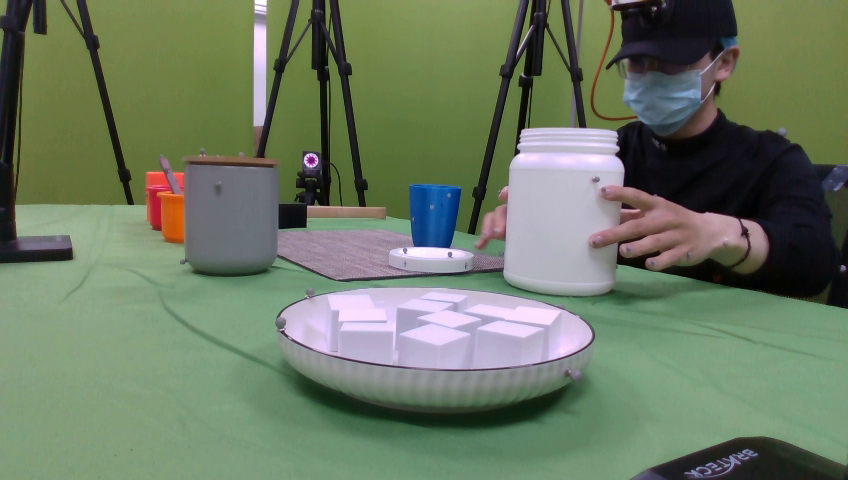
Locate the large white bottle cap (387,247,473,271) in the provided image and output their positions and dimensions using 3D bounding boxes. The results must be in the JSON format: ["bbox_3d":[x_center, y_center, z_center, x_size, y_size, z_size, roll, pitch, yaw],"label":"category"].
[{"bbox_3d":[0.009,0.025,0.804,0.115,0.018,0.115,2,7,0],"label":"large white bottle cap"}]

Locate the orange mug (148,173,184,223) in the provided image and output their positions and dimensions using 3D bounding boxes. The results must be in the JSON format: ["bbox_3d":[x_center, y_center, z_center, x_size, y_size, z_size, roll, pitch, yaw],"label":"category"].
[{"bbox_3d":[-0.490,-0.087,1.222,0.127,0.101,0.083,-9,13,-38],"label":"orange mug"}]

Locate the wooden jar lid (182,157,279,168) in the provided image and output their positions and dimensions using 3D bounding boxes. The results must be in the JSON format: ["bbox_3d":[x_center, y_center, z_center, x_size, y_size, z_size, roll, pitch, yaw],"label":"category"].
[{"bbox_3d":[-0.227,-0.086,0.714,0.108,0.020,0.108,1,6,0],"label":"wooden jar lid"}]

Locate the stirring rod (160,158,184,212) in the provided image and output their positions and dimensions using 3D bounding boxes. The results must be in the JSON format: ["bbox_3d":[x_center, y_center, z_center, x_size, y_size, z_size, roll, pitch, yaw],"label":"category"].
[{"bbox_3d":[-0.390,-0.070,0.972,0.014,0.006,0.175,-1,49,-49],"label":"stirring rod"}]

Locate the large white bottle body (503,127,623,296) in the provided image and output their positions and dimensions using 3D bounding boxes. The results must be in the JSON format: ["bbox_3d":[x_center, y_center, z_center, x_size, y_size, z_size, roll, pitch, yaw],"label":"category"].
[{"bbox_3d":[0.162,-0.036,0.707,0.131,0.184,0.130,2,7,0],"label":"large white bottle body"}]

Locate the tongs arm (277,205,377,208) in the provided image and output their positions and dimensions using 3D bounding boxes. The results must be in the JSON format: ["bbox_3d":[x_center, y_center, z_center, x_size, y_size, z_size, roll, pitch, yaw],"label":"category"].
[{"bbox_3d":[-0.288,-0.070,1.435,0.389,0.027,0.028,1,0,-18],"label":"tongs arm"}]

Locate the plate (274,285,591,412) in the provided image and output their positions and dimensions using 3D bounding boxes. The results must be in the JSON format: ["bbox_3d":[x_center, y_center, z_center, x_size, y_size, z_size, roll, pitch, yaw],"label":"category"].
[{"bbox_3d":[0.005,0.069,0.408,0.208,0.039,0.207,2,7,0],"label":"plate"}]

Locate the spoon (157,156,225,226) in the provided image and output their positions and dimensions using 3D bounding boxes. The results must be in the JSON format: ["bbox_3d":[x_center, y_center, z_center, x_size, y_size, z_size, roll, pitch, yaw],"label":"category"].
[{"bbox_3d":[-0.425,-0.094,1.117,0.041,0.022,0.194,5,51,29],"label":"spoon"}]

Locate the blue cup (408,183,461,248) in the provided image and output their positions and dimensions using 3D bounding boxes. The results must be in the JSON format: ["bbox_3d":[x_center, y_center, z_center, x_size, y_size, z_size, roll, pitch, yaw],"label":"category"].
[{"bbox_3d":[0.015,-0.038,0.970,0.093,0.100,0.092,3,9,0],"label":"blue cup"}]

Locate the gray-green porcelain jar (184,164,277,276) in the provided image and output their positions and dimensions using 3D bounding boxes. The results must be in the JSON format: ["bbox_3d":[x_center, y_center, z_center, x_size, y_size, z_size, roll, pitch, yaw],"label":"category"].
[{"bbox_3d":[-0.230,-0.025,0.722,0.106,0.126,0.106,3,7,0],"label":"gray-green porcelain jar"}]

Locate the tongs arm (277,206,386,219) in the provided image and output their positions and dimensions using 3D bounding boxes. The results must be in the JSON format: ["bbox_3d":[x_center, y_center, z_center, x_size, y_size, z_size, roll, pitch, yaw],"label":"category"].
[{"bbox_3d":[-0.252,-0.062,1.360,0.387,0.026,0.050,-1,4,-31],"label":"tongs arm"}]
